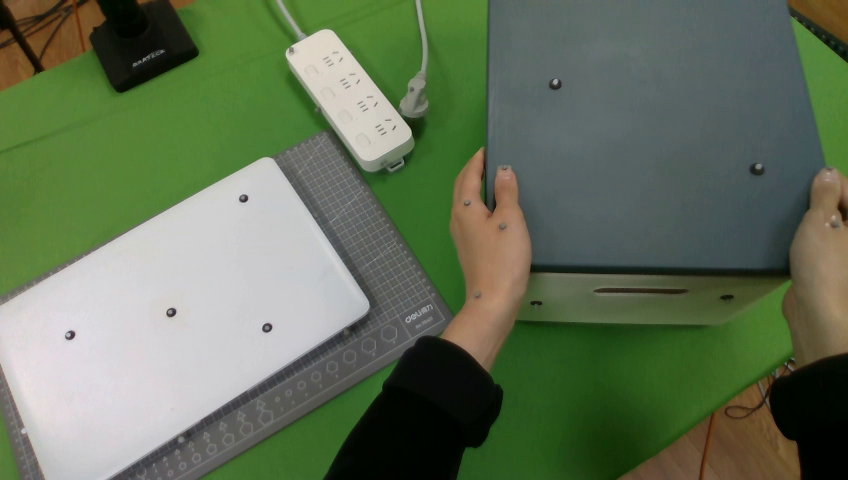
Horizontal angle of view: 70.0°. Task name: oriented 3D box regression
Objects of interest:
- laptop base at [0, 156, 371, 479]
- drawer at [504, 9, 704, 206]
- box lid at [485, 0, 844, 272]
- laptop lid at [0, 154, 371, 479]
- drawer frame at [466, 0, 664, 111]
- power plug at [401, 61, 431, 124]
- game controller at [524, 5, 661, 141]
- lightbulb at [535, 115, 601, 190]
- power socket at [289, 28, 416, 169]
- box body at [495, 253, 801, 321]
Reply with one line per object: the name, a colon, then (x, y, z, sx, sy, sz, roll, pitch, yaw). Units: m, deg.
laptop base: (-0.261, 0.077, 0.653, 0.354, 0.023, 0.234, -33, 71, -10)
drawer: (0.188, -0.145, 0.669, 0.194, 0.074, 0.210, -1, 71, 7)
box lid: (0.186, -0.149, 0.517, 0.263, 0.015, 0.368, 1, 68, 6)
laptop lid: (-0.261, 0.074, 0.641, 0.357, 0.013, 0.240, -31, 70, -10)
drawer frame: (0.171, -0.146, 0.622, 0.203, 0.212, 0.082, 33, 83, -18)
power plug: (0.000, -0.177, 0.739, 0.035, 0.053, 0.072, 27, 53, 20)
game controller: (0.181, -0.187, 0.648, 0.097, 0.052, 0.153, -23, 65, -5)
lightbulb: (0.152, -0.101, 0.667, 0.059, 0.060, 0.106, -21, 53, -5)
power socket: (-0.091, -0.179, 0.749, 0.072, 0.033, 0.225, -31, 67, -11)
box body: (0.196, -0.104, 0.624, 0.254, 0.161, 0.361, 0, 66, 4)
